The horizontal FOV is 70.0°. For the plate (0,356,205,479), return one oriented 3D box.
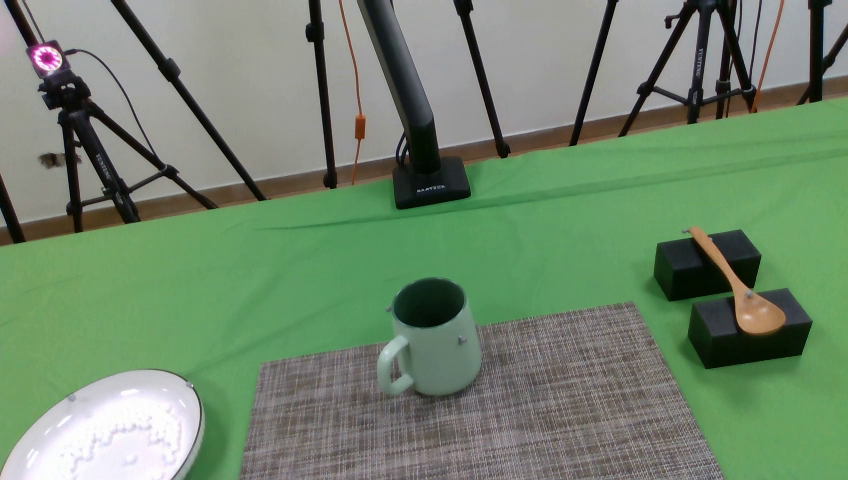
[{"bbox_3d":[-0.330,0.213,0.634,0.209,0.038,0.207,-6,38,5],"label":"plate"}]

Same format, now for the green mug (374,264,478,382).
[{"bbox_3d":[-0.003,0.099,0.638,0.091,0.106,0.125,25,51,36],"label":"green mug"}]

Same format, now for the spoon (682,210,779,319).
[{"bbox_3d":[0.320,0.019,0.651,0.041,0.022,0.191,-26,36,15],"label":"spoon"}]
